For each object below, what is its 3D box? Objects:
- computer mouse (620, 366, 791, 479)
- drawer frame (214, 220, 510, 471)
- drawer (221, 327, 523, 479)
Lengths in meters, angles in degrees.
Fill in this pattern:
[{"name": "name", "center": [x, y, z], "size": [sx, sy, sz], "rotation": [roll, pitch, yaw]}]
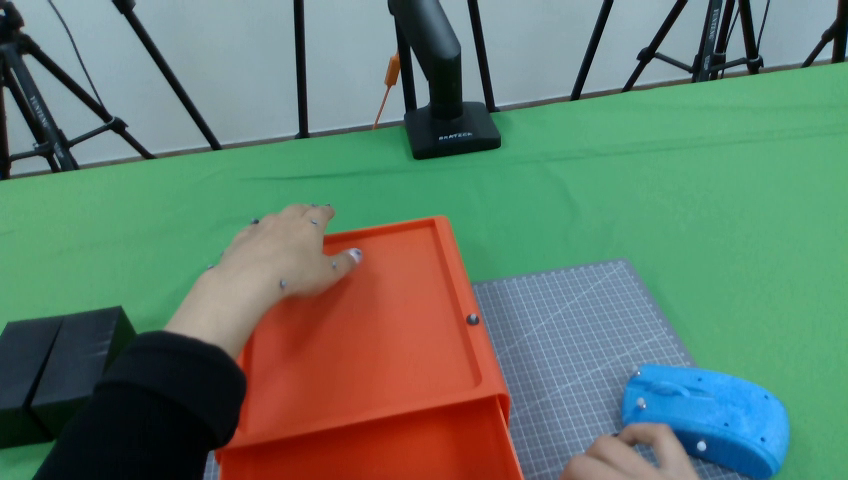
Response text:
[{"name": "computer mouse", "center": [0.210, 0.131, 0.455], "size": [0.116, 0.041, 0.062], "rotation": [14, 45, 28]}, {"name": "drawer frame", "center": [-0.054, 0.088, 0.502], "size": [0.202, 0.083, 0.211], "rotation": [-10, 38, -5]}, {"name": "drawer", "center": [-0.039, 0.149, 0.429], "size": [0.195, 0.074, 0.209], "rotation": [-9, 39, -4]}]
